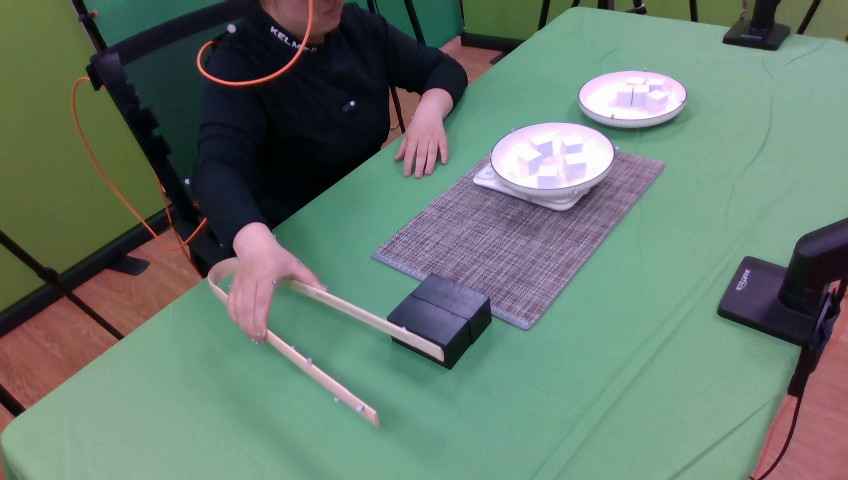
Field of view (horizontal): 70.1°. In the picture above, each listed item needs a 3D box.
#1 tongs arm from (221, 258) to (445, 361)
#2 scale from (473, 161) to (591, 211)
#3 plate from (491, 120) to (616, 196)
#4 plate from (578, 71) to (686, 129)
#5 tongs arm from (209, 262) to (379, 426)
[{"bbox_3d":[-0.135,0.086,0.812,0.384,0.028,0.028,18,51,31],"label":"tongs arm"},{"bbox_3d":[0.202,-0.121,1.074,0.199,0.032,0.149,23,49,33],"label":"scale"},{"bbox_3d":[0.221,-0.137,1.038,0.207,0.039,0.206,-6,41,5],"label":"plate"},{"bbox_3d":[0.416,-0.280,1.222,0.209,0.038,0.208,-5,41,5],"label":"plate"},{"bbox_3d":[-0.176,0.119,0.777,0.381,0.026,0.051,24,51,36],"label":"tongs arm"}]
